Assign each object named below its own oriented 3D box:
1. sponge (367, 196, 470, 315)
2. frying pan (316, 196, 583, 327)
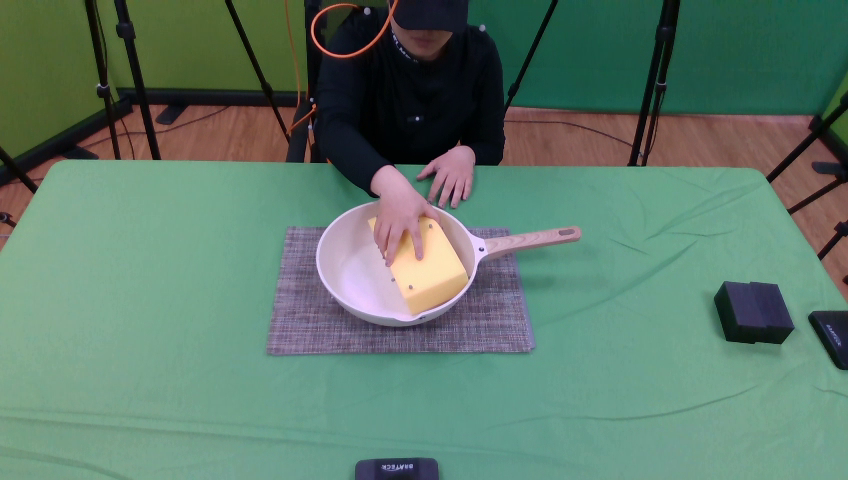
[{"bbox_3d":[-0.013,0.025,1.116,0.118,0.061,0.205,-25,51,-5],"label":"sponge"},{"bbox_3d":[0.054,0.027,1.114,0.488,0.103,0.304,-9,48,-1],"label":"frying pan"}]
